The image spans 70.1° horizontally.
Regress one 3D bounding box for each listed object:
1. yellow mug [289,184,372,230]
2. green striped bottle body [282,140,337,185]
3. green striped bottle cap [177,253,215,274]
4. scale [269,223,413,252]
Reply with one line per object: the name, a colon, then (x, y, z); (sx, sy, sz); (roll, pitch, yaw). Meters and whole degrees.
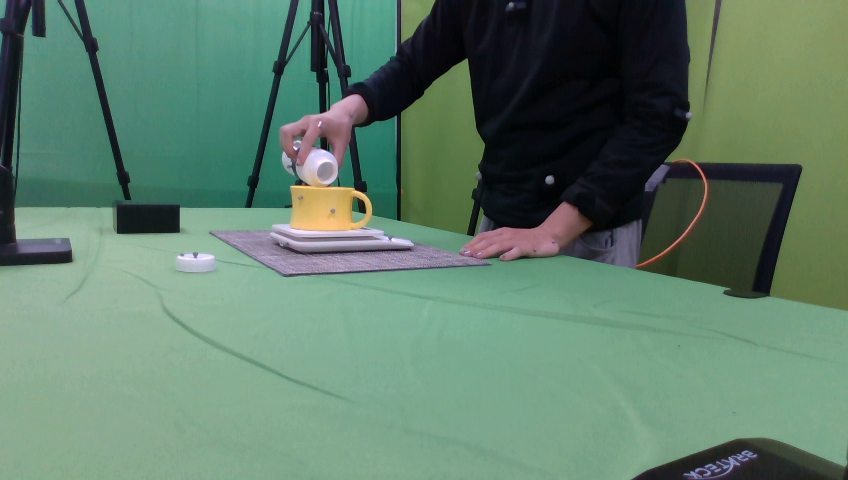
yellow mug: (-0.145, -0.052, 0.944); (0.131, 0.064, 0.100); (4, 7, 9)
green striped bottle body: (-0.190, -0.128, 1.016); (0.063, 0.063, 0.118); (-2, 19, -34)
green striped bottle cap: (-0.279, 0.028, 0.741); (0.044, 0.020, 0.044); (5, 6, 0)
scale: (-0.132, -0.007, 0.965); (0.202, 0.031, 0.148); (-2, 8, -31)
